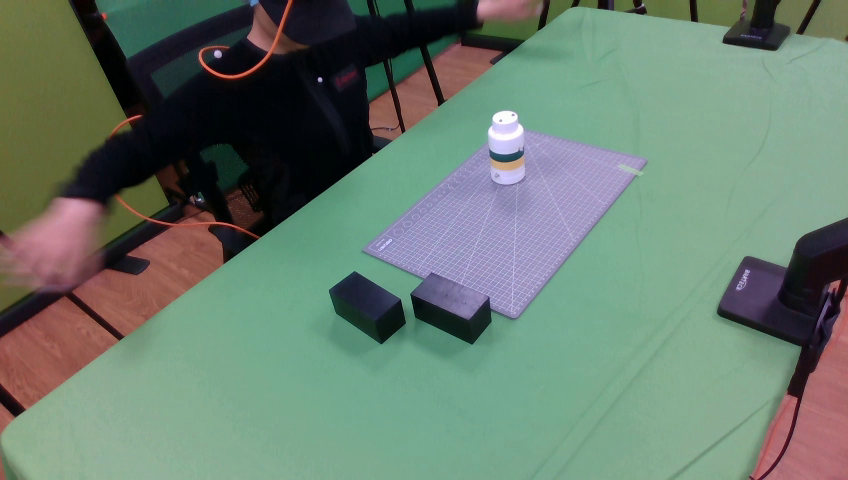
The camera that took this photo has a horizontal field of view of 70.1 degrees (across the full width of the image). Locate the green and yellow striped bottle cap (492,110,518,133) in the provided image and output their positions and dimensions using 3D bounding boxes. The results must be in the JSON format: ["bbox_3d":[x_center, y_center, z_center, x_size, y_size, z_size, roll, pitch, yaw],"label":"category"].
[{"bbox_3d":[0.139,-0.203,1.033,0.045,0.020,0.045,-4,41,4],"label":"green and yellow striped bottle cap"}]

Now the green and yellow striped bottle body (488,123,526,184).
[{"bbox_3d":[0.147,-0.163,1.067,0.063,0.120,0.063,-5,40,5],"label":"green and yellow striped bottle body"}]
